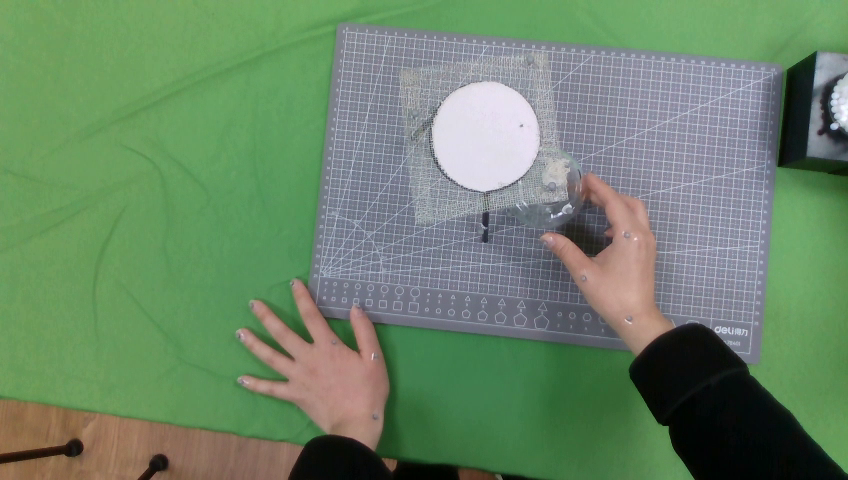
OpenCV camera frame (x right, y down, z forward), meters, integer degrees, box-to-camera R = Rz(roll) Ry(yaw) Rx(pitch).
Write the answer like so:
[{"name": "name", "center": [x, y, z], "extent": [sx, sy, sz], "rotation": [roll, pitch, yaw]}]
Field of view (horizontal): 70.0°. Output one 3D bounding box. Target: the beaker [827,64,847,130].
[{"name": "beaker", "center": [0.400, -0.134, 0.506], "extent": [0.074, 0.100, 0.084], "rotation": [16, 87, 3]}]

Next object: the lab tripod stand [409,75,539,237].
[{"name": "lab tripod stand", "center": [0.050, -0.079, 0.543], "extent": [0.148, 0.131, 0.148], "rotation": [0, 88, 0]}]

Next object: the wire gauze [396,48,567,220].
[{"name": "wire gauze", "center": [0.044, -0.085, 0.476], "extent": [0.121, 0.011, 0.125], "rotation": [-7, 89, 0]}]

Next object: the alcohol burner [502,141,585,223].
[{"name": "alcohol burner", "center": [0.111, -0.056, 0.551], "extent": [0.078, 0.119, 0.077], "rotation": [0, 85, 3]}]
